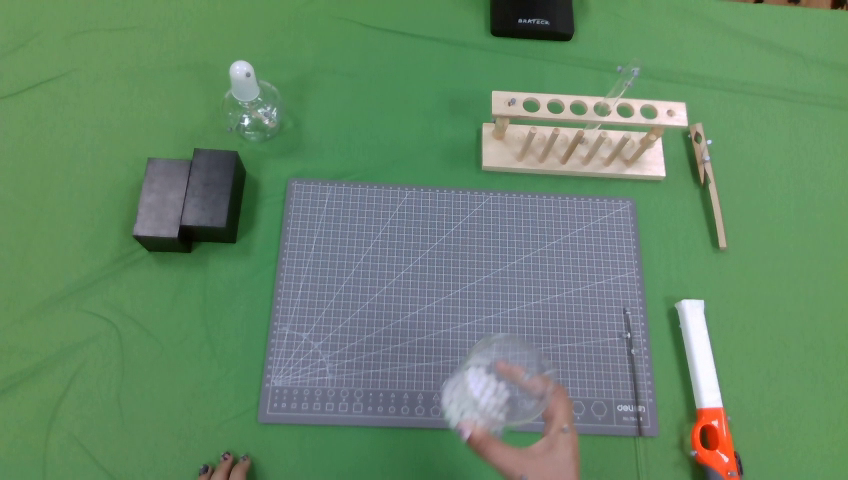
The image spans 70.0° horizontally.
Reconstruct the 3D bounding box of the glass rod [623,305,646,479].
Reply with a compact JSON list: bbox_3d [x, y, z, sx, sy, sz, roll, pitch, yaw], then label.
[{"bbox_3d":[0.243,0.171,0.703,0.008,0.008,0.198,2,69,-4],"label":"glass rod"}]

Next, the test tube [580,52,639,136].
[{"bbox_3d":[0.221,-0.172,0.737,0.017,0.151,0.017,4,66,-8],"label":"test tube"}]

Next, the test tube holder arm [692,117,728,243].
[{"bbox_3d":[0.378,-0.082,0.803,0.013,0.015,0.177,-16,68,28],"label":"test tube holder arm"}]

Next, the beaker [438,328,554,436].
[{"bbox_3d":[0.058,0.126,0.524,0.084,0.101,0.073,-7,66,-16],"label":"beaker"}]

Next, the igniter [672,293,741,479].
[{"bbox_3d":[0.324,0.196,0.694,0.057,0.025,0.274,3,69,-14],"label":"igniter"}]

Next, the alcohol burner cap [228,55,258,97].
[{"bbox_3d":[-0.213,-0.195,0.710,0.034,0.048,0.033,4,64,-8],"label":"alcohol burner cap"}]

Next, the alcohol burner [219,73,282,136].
[{"bbox_3d":[-0.216,-0.181,0.743,0.078,0.120,0.077,1,68,-2],"label":"alcohol burner"}]

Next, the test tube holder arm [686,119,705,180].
[{"bbox_3d":[0.369,-0.123,0.820,0.010,0.015,0.087,-16,68,28],"label":"test tube holder arm"}]

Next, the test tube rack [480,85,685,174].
[{"bbox_3d":[0.198,-0.139,0.776,0.242,0.085,0.066,3,70,-3],"label":"test tube rack"}]
